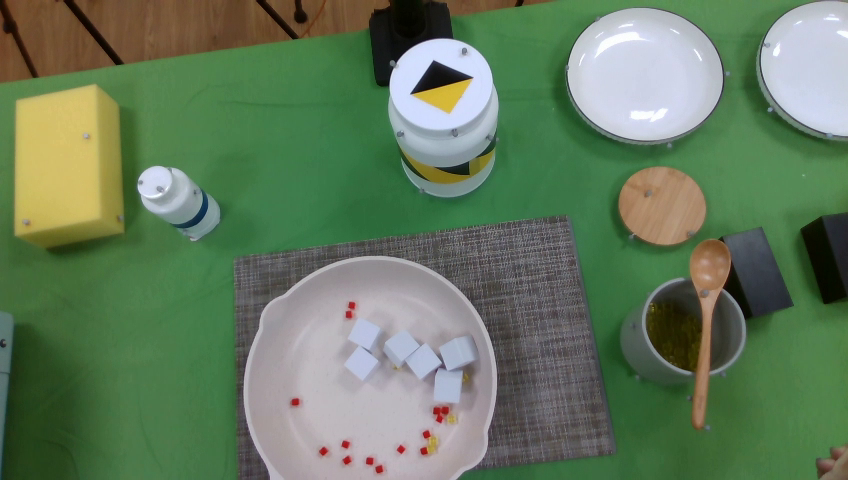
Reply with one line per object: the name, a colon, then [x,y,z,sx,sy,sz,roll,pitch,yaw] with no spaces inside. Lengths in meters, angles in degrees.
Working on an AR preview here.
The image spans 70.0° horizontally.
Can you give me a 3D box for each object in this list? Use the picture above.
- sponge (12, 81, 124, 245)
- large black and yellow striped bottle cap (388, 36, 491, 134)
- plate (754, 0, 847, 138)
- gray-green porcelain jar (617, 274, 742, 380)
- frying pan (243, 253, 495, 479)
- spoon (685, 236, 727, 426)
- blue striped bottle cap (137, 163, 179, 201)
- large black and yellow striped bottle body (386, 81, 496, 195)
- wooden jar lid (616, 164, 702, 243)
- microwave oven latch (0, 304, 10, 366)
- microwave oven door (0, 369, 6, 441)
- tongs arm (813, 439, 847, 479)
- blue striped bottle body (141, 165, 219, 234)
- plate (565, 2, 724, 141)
sponge: [-0.494,-0.107,0.841,0.118,0.061,0.205,-12,74,0]
large black and yellow striped bottle cap: [0.018,-0.173,0.671,0.115,0.019,0.114,-1,75,4]
plate: [0.547,-0.228,0.811,0.209,0.038,0.208,-1,73,4]
gray-green porcelain jar: [0.282,0.104,0.688,0.106,0.127,0.105,-1,73,4]
frying pan: [-0.122,0.241,0.686,0.305,0.103,0.486,33,70,13]
spoon: [0.282,0.091,0.619,0.041,0.022,0.193,9,78,3]
blue striped bottle cap: [-0.322,-0.070,0.733,0.044,0.021,0.044,-1,75,4]
large black and yellow striped bottle body: [0.023,-0.147,0.751,0.131,0.185,0.130,-1,73,4]
wooden jar lid: [0.303,-0.046,0.786,0.108,0.021,0.108,-1,75,4]
microwave oven latch: [-0.551,0.121,0.771,0.030,0.029,0.078,-4,74,3]
microwave oven door: [-0.539,0.300,0.612,0.039,0.245,0.353,-7,73,2]
tongs arm: [0.400,0.200,0.555,0.028,0.028,0.388,27,106,-7]
blue striped bottle body: [-0.318,-0.055,0.782,0.063,0.121,0.062,-1,73,5]
plate: [0.296,-0.227,0.830,0.207,0.039,0.206,-1,74,4]
